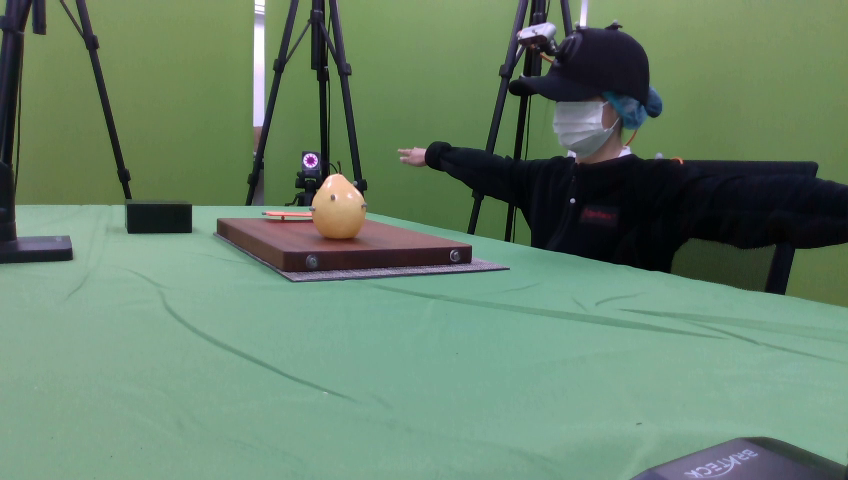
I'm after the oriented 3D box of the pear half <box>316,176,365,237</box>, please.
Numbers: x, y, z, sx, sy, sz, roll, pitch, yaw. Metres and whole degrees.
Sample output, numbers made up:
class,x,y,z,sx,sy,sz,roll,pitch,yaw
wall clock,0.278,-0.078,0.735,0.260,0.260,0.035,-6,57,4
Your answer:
class,x,y,z,sx,sy,sz,roll,pitch,yaw
pear half,-0.120,-0.049,0.874,0.070,0.088,0.031,-2,8,0

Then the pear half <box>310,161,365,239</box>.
class,x,y,z,sx,sy,sz,roll,pitch,yaw
pear half,-0.122,-0.055,0.837,0.076,0.110,0.056,-2,7,1

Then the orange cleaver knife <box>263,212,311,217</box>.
class,x,y,z,sx,sy,sz,roll,pitch,yaw
orange cleaver knife,-0.192,-0.045,1.097,0.212,0.012,0.077,0,4,-38
